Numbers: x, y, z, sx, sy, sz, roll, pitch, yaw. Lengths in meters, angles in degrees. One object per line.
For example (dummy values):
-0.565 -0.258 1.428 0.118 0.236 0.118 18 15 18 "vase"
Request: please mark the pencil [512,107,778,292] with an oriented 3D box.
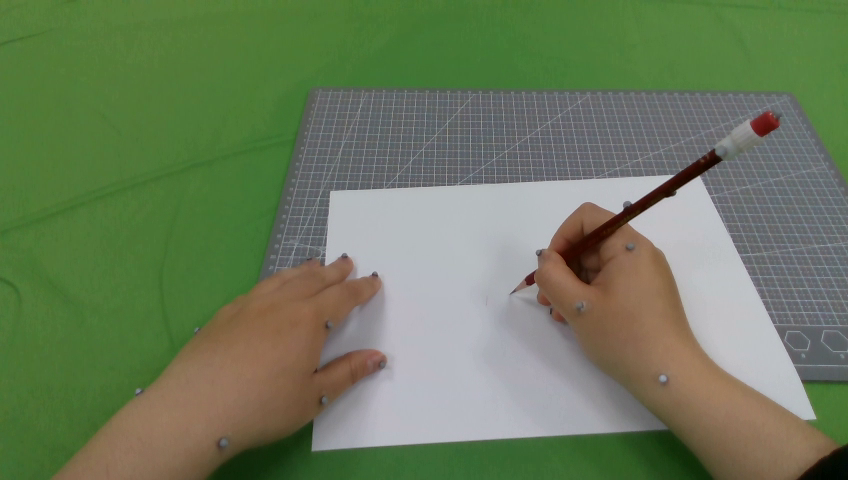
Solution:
0.109 -0.011 0.344 0.012 0.194 0.012 18 53 -25 "pencil"
